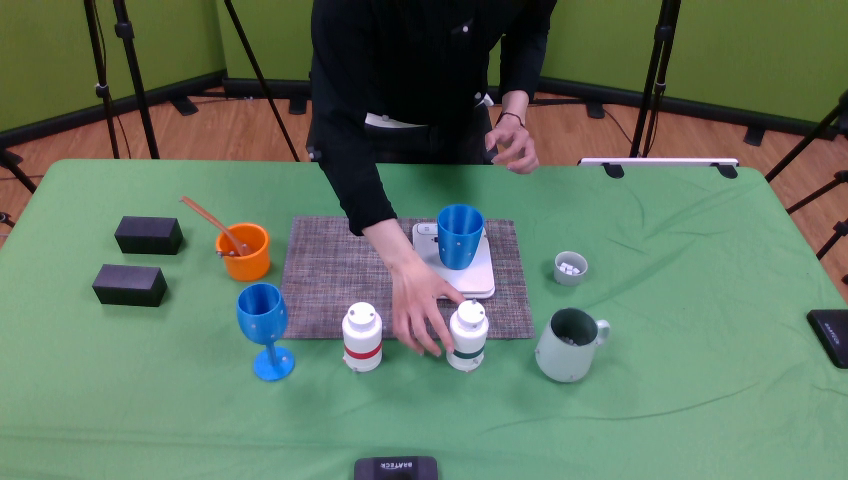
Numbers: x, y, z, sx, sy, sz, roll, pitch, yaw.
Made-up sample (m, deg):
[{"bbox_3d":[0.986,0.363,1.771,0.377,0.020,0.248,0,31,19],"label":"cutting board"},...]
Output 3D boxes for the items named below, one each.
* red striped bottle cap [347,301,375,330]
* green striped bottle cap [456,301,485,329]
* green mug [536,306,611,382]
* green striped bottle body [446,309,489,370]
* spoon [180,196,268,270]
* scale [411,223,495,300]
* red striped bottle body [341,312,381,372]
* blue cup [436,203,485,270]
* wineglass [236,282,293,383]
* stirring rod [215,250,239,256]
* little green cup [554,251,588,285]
[{"bbox_3d":[-0.097,0.116,0.934,0.044,0.018,0.044,2,49,-2],"label":"red striped bottle cap"},{"bbox_3d":[0.073,0.116,0.943,0.044,0.020,0.044,3,46,-3],"label":"green striped bottle cap"},{"bbox_3d":[0.250,0.167,0.996,0.125,0.105,0.092,-15,48,-18],"label":"green mug"},{"bbox_3d":[0.071,0.155,0.984,0.063,0.120,0.063,2,46,-2],"label":"green striped bottle body"},{"bbox_3d":[-0.360,-0.014,1.095,0.021,0.194,0.041,-27,27,32],"label":"spoon"},{"bbox_3d":[0.053,0.031,1.158,0.149,0.032,0.199,0,45,-4],"label":"scale"},{"bbox_3d":[-0.100,0.154,0.972,0.063,0.120,0.062,2,46,-2],"label":"red striped bottle body"},{"bbox_3d":[0.062,-0.001,1.099,0.093,0.101,0.092,2,43,-1],"label":"blue cup"},{"bbox_3d":[-0.243,0.143,0.934,0.074,0.173,0.073,2,46,-2],"label":"wineglass"},{"bbox_3d":[-0.339,0.024,1.059,0.014,0.176,0.006,16,86,-6],"label":"stirring rod"},{"bbox_3d":[0.277,0.055,1.151,0.061,0.039,0.061,1,46,-1],"label":"little green cup"}]
